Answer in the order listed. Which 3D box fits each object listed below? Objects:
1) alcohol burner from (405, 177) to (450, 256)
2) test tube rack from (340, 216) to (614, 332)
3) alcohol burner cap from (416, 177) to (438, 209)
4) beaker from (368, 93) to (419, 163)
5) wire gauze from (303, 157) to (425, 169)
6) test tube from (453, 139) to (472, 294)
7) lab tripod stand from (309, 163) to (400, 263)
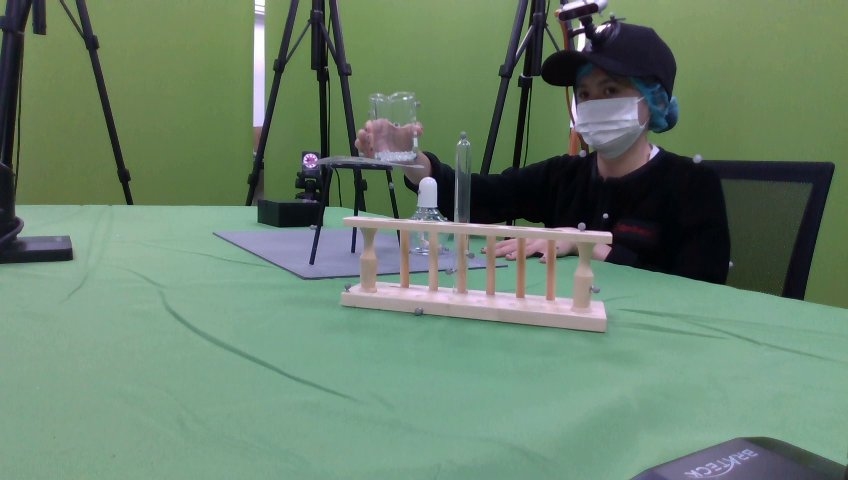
[{"bbox_3d":[0.004,-0.036,0.917,0.078,0.119,0.078,3,5,0],"label":"alcohol burner"},{"bbox_3d":[0.048,0.026,0.568,0.242,0.085,0.067,4,7,13],"label":"test tube rack"},{"bbox_3d":[0.005,-0.072,0.914,0.034,0.048,0.034,3,10,0],"label":"alcohol burner cap"},{"bbox_3d":[-0.045,-0.169,0.920,0.074,0.100,0.084,-3,7,3],"label":"beaker"},{"bbox_3d":[-0.082,-0.102,0.799,0.126,0.011,0.121,-1,7,-30],"label":"wire gauze"},{"bbox_3d":[0.037,-0.021,0.583,0.017,0.150,0.017,1,7,0],"label":"test tube"},{"bbox_3d":[-0.091,-0.037,0.813,0.148,0.131,0.148,1,6,0],"label":"lab tripod stand"}]
